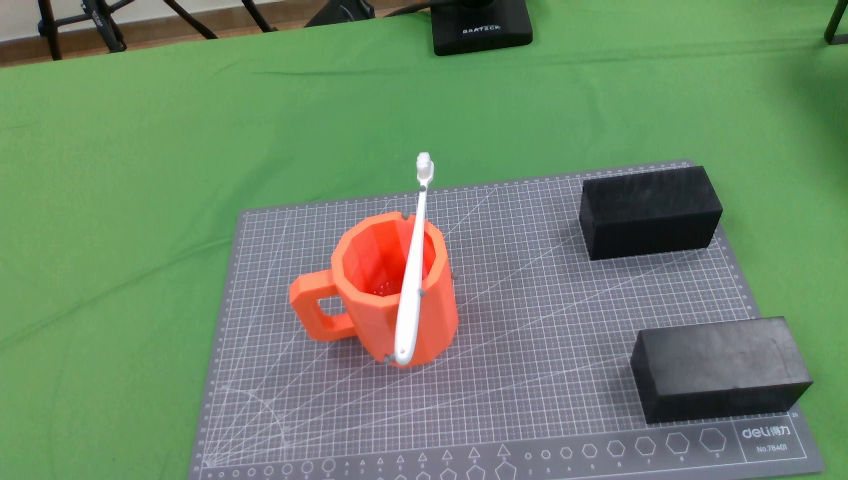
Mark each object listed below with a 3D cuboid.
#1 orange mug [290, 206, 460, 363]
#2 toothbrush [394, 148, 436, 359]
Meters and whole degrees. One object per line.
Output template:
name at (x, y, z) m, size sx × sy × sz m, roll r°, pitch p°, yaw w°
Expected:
orange mug at (-0.036, 0.040, 0.474) m, size 0.126 × 0.102 × 0.082 m, roll -10°, pitch 52°, yaw -4°
toothbrush at (-0.005, 0.001, 0.433) m, size 0.014 × 0.017 × 0.180 m, roll 1°, pitch 53°, yaw 7°
